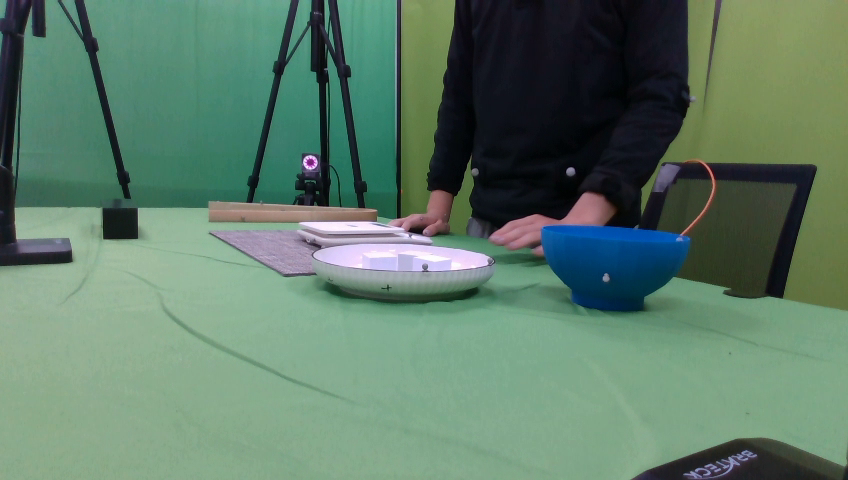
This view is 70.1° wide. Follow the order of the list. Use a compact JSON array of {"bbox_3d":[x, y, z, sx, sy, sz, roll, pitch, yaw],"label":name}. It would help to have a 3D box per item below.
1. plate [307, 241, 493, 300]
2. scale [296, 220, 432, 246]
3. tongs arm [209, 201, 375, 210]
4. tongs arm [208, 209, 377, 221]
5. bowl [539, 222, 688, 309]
[{"bbox_3d":[-0.027,0.034,0.684,0.208,0.039,0.207,2,7,0],"label":"plate"},{"bbox_3d":[-0.101,-0.012,1.017,0.202,0.031,0.148,-1,9,-30],"label":"scale"},{"bbox_3d":[-0.306,-0.070,1.430,0.386,0.026,0.050,1,8,-15],"label":"tongs arm"},{"bbox_3d":[-0.280,-0.056,1.355,0.389,0.028,0.028,-1,5,-28],"label":"tongs arm"},{"bbox_3d":[0.196,0.027,0.641,0.151,0.077,0.151,3,7,0],"label":"bowl"}]
